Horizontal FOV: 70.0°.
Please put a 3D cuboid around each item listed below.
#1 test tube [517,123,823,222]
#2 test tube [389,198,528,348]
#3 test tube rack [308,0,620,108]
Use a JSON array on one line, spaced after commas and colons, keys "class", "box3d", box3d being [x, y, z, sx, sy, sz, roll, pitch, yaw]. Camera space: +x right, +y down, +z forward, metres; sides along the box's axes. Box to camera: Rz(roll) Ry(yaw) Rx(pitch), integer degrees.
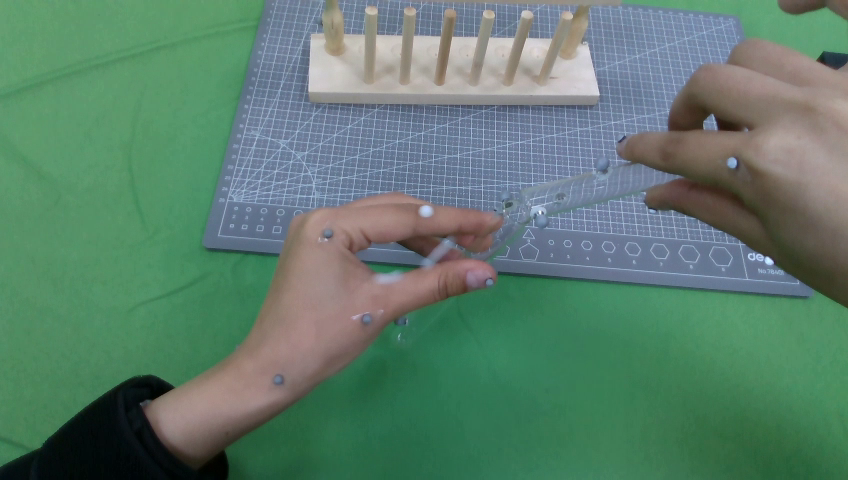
[{"class": "test tube", "box3d": [0.117, -0.033, 0.285, 0.150, 0.017, 0.017, -14, 63, -5]}, {"class": "test tube", "box3d": [0.013, 0.025, 0.337, 0.017, 0.151, 0.017, 15, 52, -19]}, {"class": "test tube rack", "box3d": [0.027, -0.162, 0.489, 0.243, 0.086, 0.066, -1, 61, -5]}]
